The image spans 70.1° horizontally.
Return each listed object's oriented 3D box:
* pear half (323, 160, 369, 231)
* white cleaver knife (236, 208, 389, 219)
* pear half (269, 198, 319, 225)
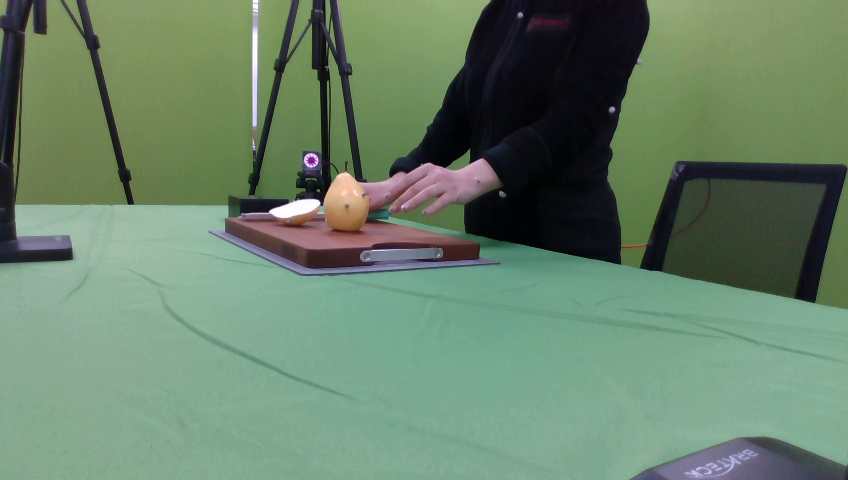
[{"bbox_3d":[-0.114,-0.068,0.938,0.056,0.110,0.076,6,12,27],"label":"pear half"},{"bbox_3d":[-0.194,-0.049,1.103,0.288,0.021,0.065,-1,-1,-32],"label":"white cleaver knife"},{"bbox_3d":[-0.212,-0.042,0.995,0.088,0.031,0.070,-10,19,20],"label":"pear half"}]
